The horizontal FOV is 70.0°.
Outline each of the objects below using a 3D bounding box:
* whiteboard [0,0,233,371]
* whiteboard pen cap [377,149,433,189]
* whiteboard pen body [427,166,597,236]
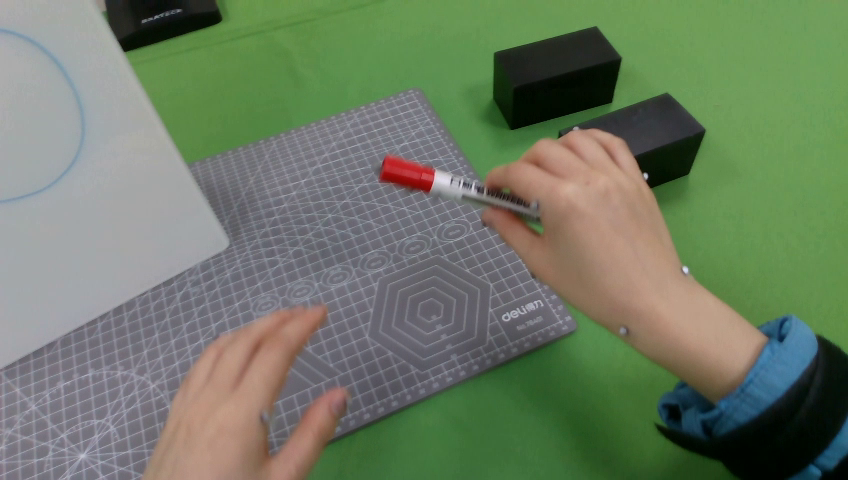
[{"bbox_3d":[-0.315,-0.089,0.423,0.217,0.308,0.142,-30,37,-15],"label":"whiteboard"},{"bbox_3d":[-0.011,-0.042,0.364,0.032,0.017,0.017,16,53,-14],"label":"whiteboard pen cap"},{"bbox_3d":[0.044,-0.027,0.377,0.141,0.017,0.016,16,53,-13],"label":"whiteboard pen body"}]
